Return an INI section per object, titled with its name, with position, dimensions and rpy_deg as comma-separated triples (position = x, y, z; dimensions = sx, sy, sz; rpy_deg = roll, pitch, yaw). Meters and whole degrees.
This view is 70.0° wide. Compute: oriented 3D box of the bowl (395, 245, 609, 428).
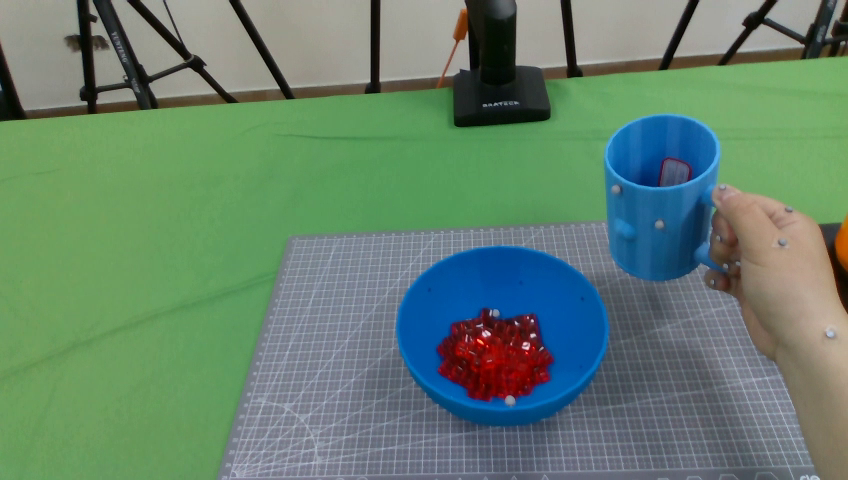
[bowl]
position = 0.057, 0.083, 0.454
dimensions = 0.151, 0.077, 0.150
rpy_deg = -4, 43, 4

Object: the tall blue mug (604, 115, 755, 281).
[tall blue mug]
position = 0.193, -0.026, 0.458
dimensions = 0.106, 0.109, 0.077
rpy_deg = 10, 55, 26
